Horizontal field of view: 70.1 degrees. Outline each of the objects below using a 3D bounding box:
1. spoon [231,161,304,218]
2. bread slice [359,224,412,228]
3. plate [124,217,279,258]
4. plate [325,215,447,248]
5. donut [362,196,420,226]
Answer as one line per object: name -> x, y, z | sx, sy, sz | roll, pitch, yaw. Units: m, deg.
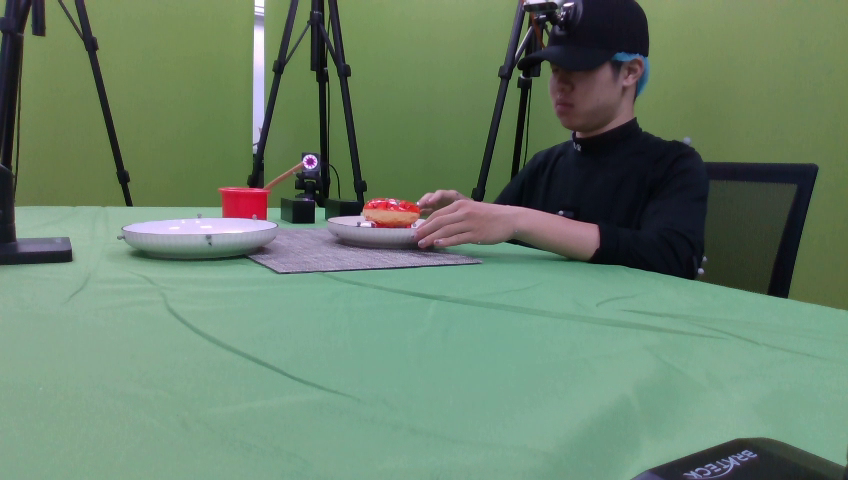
spoon -> -0.314, -0.096, 1.192 | 0.194, 0.022, 0.041 | -42, 13, -5
bread slice -> -0.062, -0.012, 1.034 | 0.105, 0.019, 0.131 | 0, 9, -19
plate -> -0.315, -0.004, 0.871 | 0.208, 0.039, 0.207 | 1, 8, 0
plate -> -0.065, -0.015, 1.035 | 0.209, 0.038, 0.209 | 3, 8, 0
donut -> -0.056, -0.048, 1.024 | 0.099, 0.048, 0.099 | 4, 8, 0
